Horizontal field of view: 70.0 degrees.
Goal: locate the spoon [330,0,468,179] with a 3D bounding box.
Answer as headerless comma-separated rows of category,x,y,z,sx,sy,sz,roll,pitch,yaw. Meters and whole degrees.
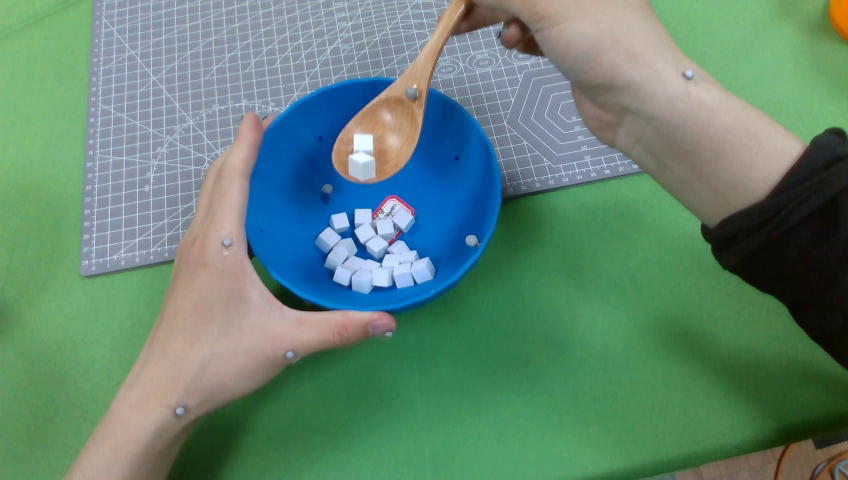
spoon,0.013,-0.114,0.316,0.041,0.022,0.193,32,90,18

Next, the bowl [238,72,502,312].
bowl,-0.029,-0.019,0.379,0.151,0.077,0.150,-1,69,2
